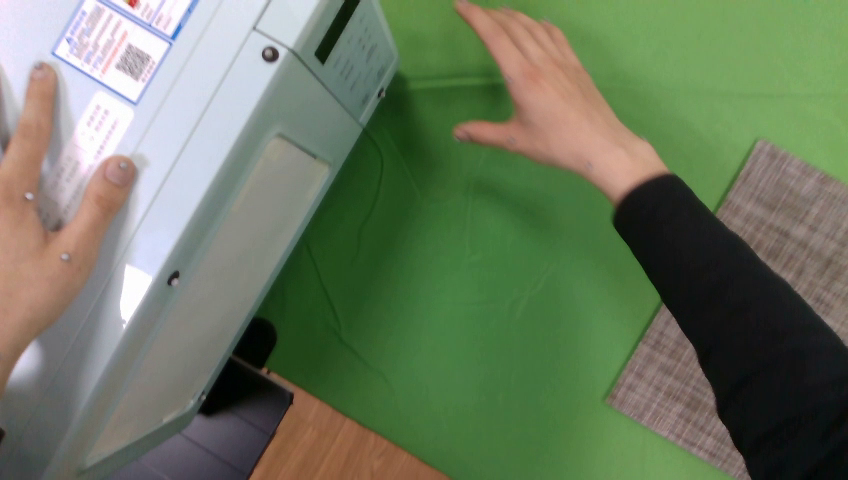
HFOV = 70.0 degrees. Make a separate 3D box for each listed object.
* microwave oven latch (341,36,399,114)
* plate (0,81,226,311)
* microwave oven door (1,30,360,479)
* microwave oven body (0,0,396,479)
[{"bbox_3d":[-0.054,-0.163,0.583,0.030,0.029,0.079,33,94,3],"label":"microwave oven latch"},{"bbox_3d":[-0.282,-0.039,0.562,0.209,0.038,0.209,0,93,2],"label":"plate"},{"bbox_3d":[-0.176,0.025,0.493,0.039,0.244,0.356,30,93,4],"label":"microwave oven door"},{"bbox_3d":[-0.279,-0.086,0.504,0.326,0.260,0.441,31,93,3],"label":"microwave oven body"}]
